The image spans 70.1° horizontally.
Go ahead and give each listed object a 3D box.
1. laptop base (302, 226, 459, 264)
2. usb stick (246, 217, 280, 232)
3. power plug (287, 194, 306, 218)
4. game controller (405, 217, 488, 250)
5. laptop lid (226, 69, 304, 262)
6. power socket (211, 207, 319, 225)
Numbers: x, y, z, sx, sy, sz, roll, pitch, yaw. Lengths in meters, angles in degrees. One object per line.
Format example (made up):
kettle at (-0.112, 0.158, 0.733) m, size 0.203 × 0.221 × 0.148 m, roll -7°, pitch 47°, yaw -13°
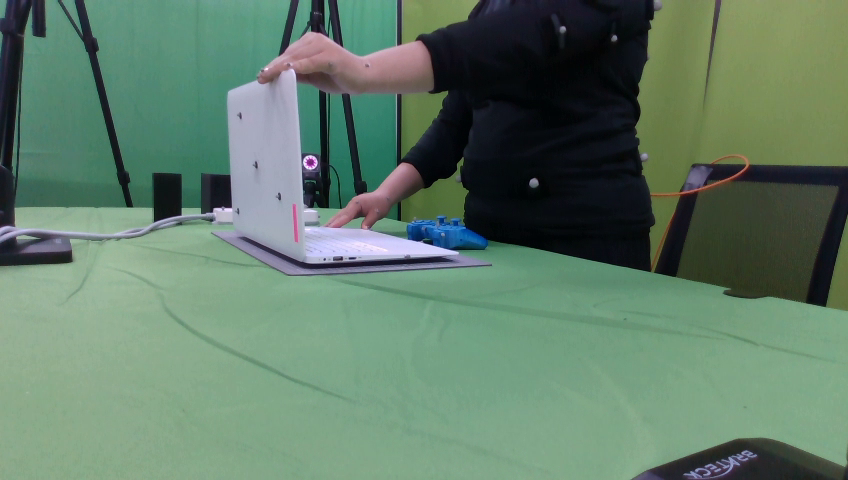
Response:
laptop base at (-0.136, 0.006, 0.951) m, size 0.237 × 0.023 × 0.352 m, roll 2°, pitch 6°, yaw -32°
usb stick at (-0.297, -0.029, 1.114) m, size 0.059 × 0.027 × 0.021 m, roll -4°, pitch 11°, yaw -30°
power plug at (-0.283, -0.075, 1.342) m, size 0.035 × 0.052 × 0.072 m, roll 0°, pitch 3°, yaw -18°
game controller at (0.034, -0.013, 1.067) m, size 0.097 × 0.051 × 0.154 m, roll -6°, pitch 10°, yaw -29°
laptop lid at (-0.238, -0.108, 0.870) m, size 0.013 × 0.241 × 0.355 m, roll -5°, pitch 12°, yaw -30°
power socket at (-0.334, -0.051, 1.281) m, size 0.228 × 0.032 × 0.072 m, roll -1°, pitch 9°, yaw -29°
